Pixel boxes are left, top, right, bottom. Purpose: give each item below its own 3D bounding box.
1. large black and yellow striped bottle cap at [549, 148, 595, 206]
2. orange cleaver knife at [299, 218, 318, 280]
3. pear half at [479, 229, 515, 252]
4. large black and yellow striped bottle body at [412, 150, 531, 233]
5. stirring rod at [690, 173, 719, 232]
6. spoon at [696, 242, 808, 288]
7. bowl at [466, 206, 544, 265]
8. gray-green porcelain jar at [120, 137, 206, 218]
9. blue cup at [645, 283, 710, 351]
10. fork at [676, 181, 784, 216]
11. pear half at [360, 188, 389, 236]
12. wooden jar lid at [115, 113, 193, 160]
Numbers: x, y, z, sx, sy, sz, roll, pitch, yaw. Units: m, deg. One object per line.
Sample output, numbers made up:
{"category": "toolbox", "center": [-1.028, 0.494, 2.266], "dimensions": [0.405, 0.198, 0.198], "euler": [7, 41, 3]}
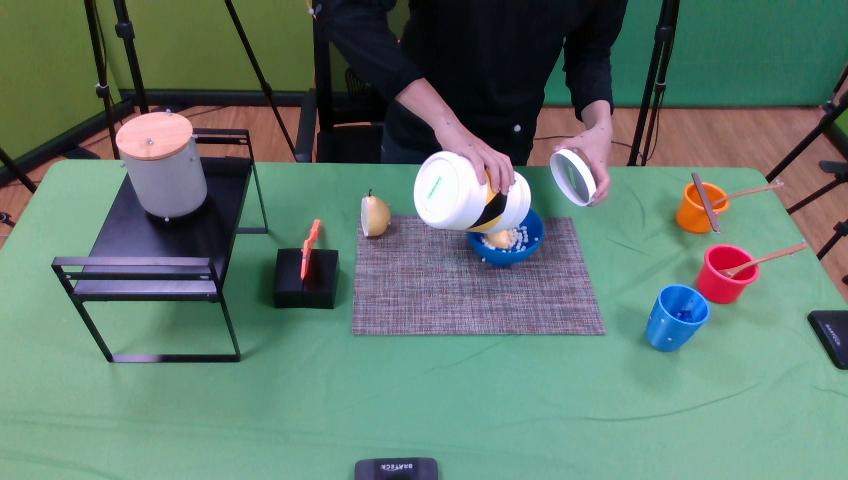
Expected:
{"category": "large black and yellow striped bottle cap", "center": [0.275, -0.117, 1.129], "dimensions": [0.019, 0.115, 0.114], "euler": [-31, 54, -9]}
{"category": "orange cleaver knife", "center": [-0.214, 0.013, 1.125], "dimensions": [0.012, 0.077, 0.210], "euler": [5, 17, -5]}
{"category": "pear half", "center": [0.145, -0.013, 1.167], "dimensions": [0.070, 0.031, 0.087], "euler": [-21, 55, -20]}
{"category": "large black and yellow striped bottle body", "center": [0.087, -0.080, 1.059], "dimensions": [0.185, 0.131, 0.130], "euler": [5, 38, -41]}
{"category": "stirring rod", "center": [0.566, -0.080, 1.225], "dimensions": [0.014, 0.006, 0.175], "euler": [2, 46, 2]}
{"category": "spoon", "center": [0.601, 0.045, 1.116], "dimensions": [0.194, 0.022, 0.041], "euler": [-29, 34, 30]}
{"category": "bowl", "center": [0.150, -0.004, 1.167], "dimensions": [0.151, 0.077, 0.150], "euler": [2, 46, -2]}
{"category": "gray-green porcelain jar", "center": [-0.403, -0.106, 0.946], "dimensions": [0.106, 0.127, 0.105], "euler": [3, 46, -2]}
{"category": "blue cup", "center": [0.426, 0.139, 1.041], "dimensions": [0.093, 0.100, 0.092], "euler": [4, 46, -4]}
{"category": "fork", "center": [0.618, -0.083, 1.235], "dimensions": [0.207, 0.019, 0.028], "euler": [-23, 20, 38]}
{"category": "pear half", "center": [-0.096, -0.060, 1.181], "dimensions": [0.056, 0.110, 0.076], "euler": [-13, 52, -17]}
{"category": "wooden jar lid", "center": [-0.399, -0.151, 0.900], "dimensions": [0.108, 0.021, 0.107], "euler": [3, 46, -3]}
